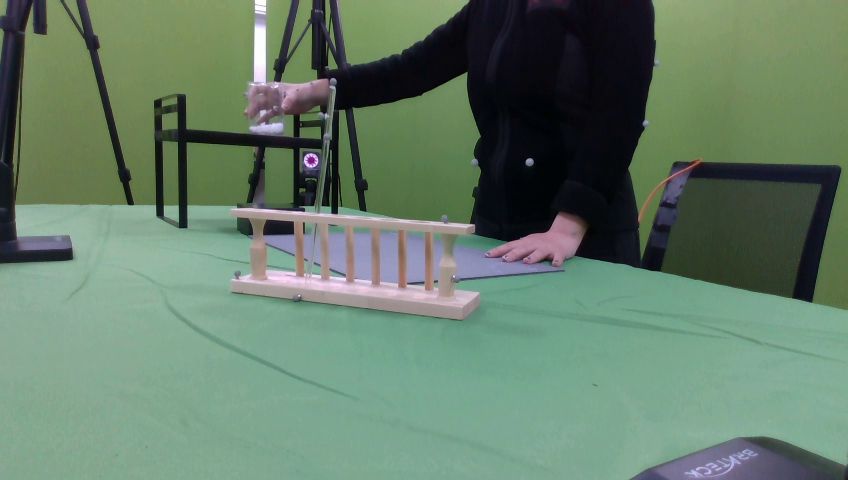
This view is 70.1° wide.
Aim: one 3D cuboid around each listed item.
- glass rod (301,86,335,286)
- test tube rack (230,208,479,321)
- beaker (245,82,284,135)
[{"bbox_3d":[-0.104,-0.049,0.587,0.008,0.199,0.008,9,7,-1],"label":"glass rod"},{"bbox_3d":[-0.069,0.017,0.598,0.242,0.085,0.067,5,8,18],"label":"test tube rack"},{"bbox_3d":[-0.313,-0.261,1.201,0.074,0.100,0.083,-6,15,-33],"label":"beaker"}]
